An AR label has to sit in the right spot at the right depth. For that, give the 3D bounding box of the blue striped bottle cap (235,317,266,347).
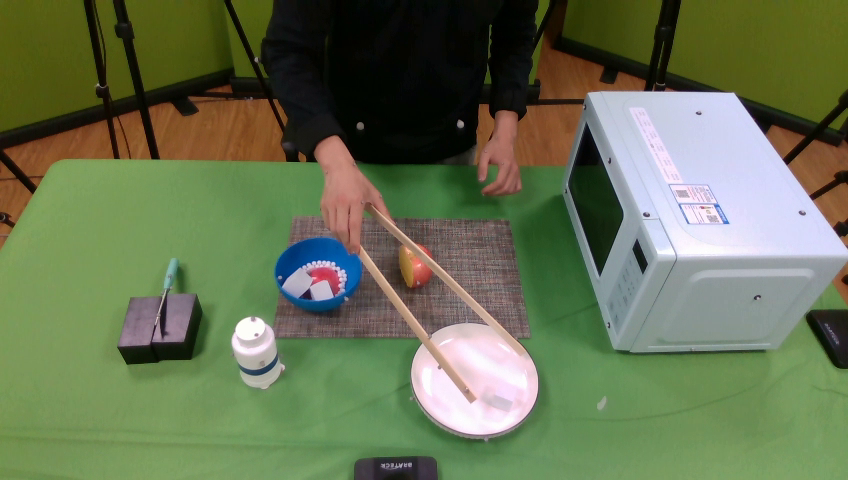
[{"bbox_3d":[-0.260,0.137,0.907,0.044,0.021,0.044,3,43,-2],"label":"blue striped bottle cap"}]

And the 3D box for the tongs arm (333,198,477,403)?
[{"bbox_3d":[-0.031,0.089,0.959,0.051,0.026,0.383,-33,75,-30],"label":"tongs arm"}]

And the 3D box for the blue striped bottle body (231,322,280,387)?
[{"bbox_3d":[-0.262,0.171,0.944,0.063,0.121,0.062,2,46,-2],"label":"blue striped bottle body"}]

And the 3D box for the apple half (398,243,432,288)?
[{"bbox_3d":[-0.011,0.046,1.115,0.053,0.075,0.080,-11,44,-18],"label":"apple half"}]

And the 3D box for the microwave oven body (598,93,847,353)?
[{"bbox_3d":[0.475,-0.041,1.109,0.326,0.261,0.438,-1,45,-4],"label":"microwave oven body"}]

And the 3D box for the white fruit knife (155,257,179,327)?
[{"bbox_3d":[-0.440,0.085,1.037,0.016,0.027,0.206,10,26,-19],"label":"white fruit knife"}]

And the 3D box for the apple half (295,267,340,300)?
[{"bbox_3d":[-0.187,0.071,1.067,0.081,0.033,0.081,2,46,-2],"label":"apple half"}]

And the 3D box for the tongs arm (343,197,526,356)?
[{"bbox_3d":[0.016,0.056,0.995,0.387,0.028,0.028,42,61,8],"label":"tongs arm"}]

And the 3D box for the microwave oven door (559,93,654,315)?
[{"bbox_3d":[0.327,-0.074,1.123,0.039,0.245,0.353,-1,46,-5],"label":"microwave oven door"}]

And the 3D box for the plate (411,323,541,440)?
[{"bbox_3d":[0.082,0.228,0.976,0.208,0.039,0.206,2,45,-2],"label":"plate"}]

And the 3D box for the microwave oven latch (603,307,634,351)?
[{"bbox_3d":[0.332,0.153,1.044,0.030,0.029,0.078,0,45,-4],"label":"microwave oven latch"}]

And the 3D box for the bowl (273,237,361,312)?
[{"bbox_3d":[-0.186,0.075,1.070,0.151,0.077,0.150,3,46,-3],"label":"bowl"}]
